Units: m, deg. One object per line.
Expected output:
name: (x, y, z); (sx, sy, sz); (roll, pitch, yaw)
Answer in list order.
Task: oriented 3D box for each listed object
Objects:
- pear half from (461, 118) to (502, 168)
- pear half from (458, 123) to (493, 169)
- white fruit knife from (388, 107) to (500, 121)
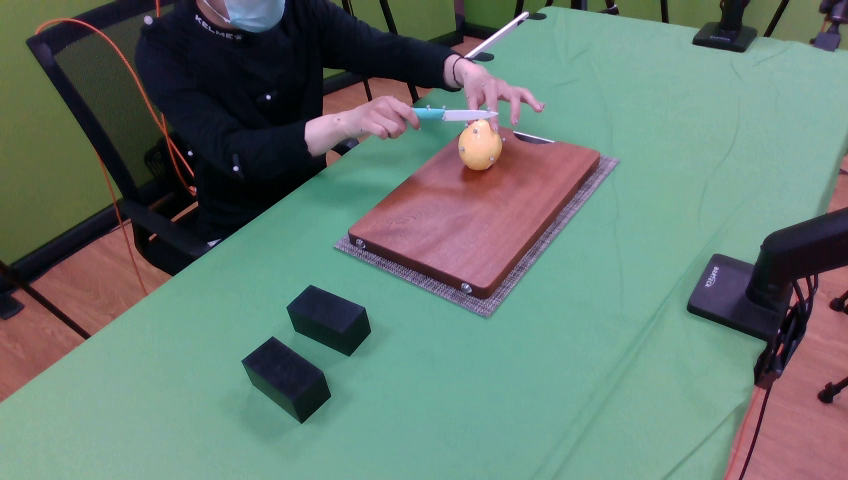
pear half: (0.102, -0.185, 1.058); (0.076, 0.110, 0.056); (19, 47, 24)
pear half: (0.084, -0.157, 1.042); (0.070, 0.088, 0.031); (21, 48, 21)
white fruit knife: (0.030, -0.216, 1.034); (0.206, 0.027, 0.016); (3, 54, 21)
